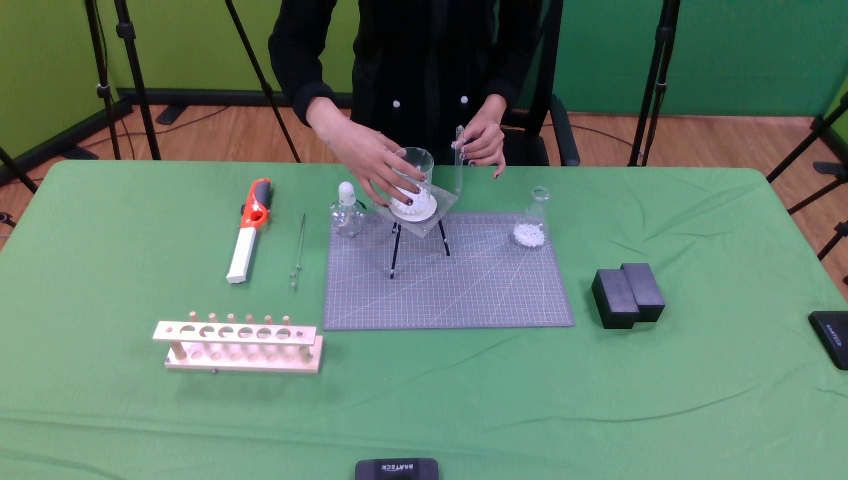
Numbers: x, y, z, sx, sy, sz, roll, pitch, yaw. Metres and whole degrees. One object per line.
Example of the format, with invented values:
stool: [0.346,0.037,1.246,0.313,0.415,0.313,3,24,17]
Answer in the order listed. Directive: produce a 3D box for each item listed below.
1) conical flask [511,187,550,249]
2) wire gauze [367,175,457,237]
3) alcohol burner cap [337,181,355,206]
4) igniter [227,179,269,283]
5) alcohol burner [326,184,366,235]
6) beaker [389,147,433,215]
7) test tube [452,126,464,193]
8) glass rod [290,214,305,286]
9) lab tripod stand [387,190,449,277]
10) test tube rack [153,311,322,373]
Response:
conical flask: [0.217,-0.048,1.190,0.075,0.122,0.075,2,46,-2]
wire gauze: [-0.021,-0.067,1.089,0.124,0.011,0.121,28,49,21]
alcohol burner cap: [-0.151,-0.090,1.158,0.034,0.048,0.033,0,52,0]
igniter: [-0.345,-0.027,1.195,0.057,0.025,0.274,-6,46,5]
alcohol burner: [-0.152,-0.066,1.184,0.078,0.119,0.077,4,46,-4]
beaker: [-0.022,-0.101,1.052,0.074,0.101,0.084,27,51,17]
test tube: [0.063,-0.147,1.132,0.017,0.151,0.017,0,46,0]
glass rod: [-0.245,0.015,1.176,0.008,0.008,0.198,1,43,-3]
lab tripod stand: [-0.021,-0.018,1.135,0.148,0.132,0.147,3,44,-3]
test tube rack: [-0.293,0.160,0.978,0.242,0.085,0.066,3,46,-2]
